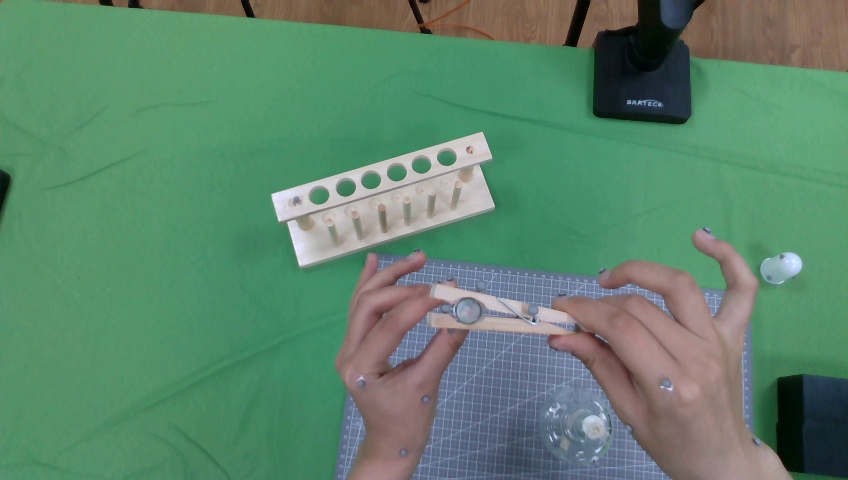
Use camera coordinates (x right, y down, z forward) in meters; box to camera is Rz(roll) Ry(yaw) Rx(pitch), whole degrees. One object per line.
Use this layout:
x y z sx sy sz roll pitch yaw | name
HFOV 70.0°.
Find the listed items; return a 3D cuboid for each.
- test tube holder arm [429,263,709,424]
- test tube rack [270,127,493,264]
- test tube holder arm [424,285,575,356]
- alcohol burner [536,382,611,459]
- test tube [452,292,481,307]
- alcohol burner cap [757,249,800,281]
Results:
0.084 0.060 0.345 0.179 0.015 0.013 27 48 -5 | test tube holder arm
-0.041 -0.048 0.693 0.242 0.085 0.066 -17 74 -5 | test tube rack
0.042 0.045 0.335 0.088 0.015 0.010 20 48 -12 | test tube holder arm
0.156 0.183 0.614 0.078 0.119 0.077 0 75 -1 | alcohol burner
0.018 0.040 0.406 0.017 0.150 0.017 0 88 -5 | test tube
0.412 0.027 0.700 0.034 0.048 0.033 0 73 0 | alcohol burner cap
